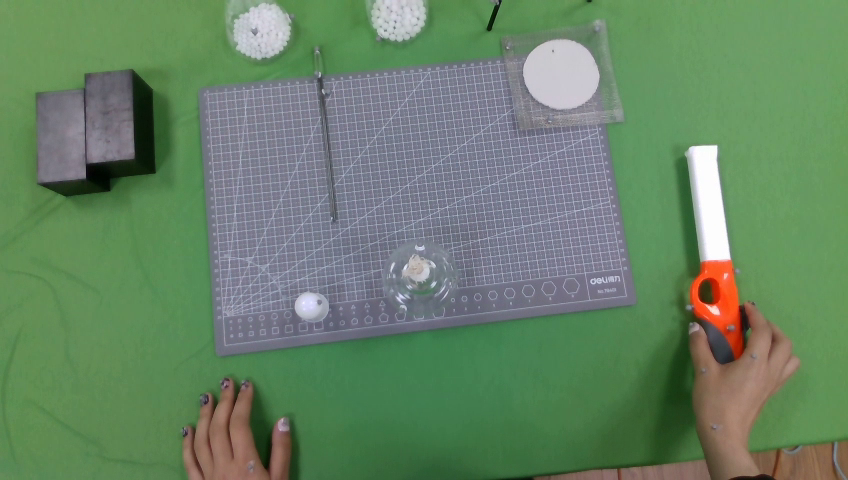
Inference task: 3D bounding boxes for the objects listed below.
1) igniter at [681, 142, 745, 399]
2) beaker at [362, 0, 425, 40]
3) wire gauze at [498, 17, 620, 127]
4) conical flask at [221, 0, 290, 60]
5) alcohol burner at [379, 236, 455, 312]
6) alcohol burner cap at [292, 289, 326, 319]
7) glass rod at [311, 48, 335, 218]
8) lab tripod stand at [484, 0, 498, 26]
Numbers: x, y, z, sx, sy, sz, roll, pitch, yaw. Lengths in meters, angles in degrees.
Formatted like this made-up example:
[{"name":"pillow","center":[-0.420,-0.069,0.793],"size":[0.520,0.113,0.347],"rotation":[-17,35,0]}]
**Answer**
[{"name":"igniter","center":[0.307,0.029,0.649],"size":[0.057,0.025,0.275],"rotation":[-2,80,1]},{"name":"beaker","center":[-0.034,-0.273,0.658],"size":[0.074,0.100,0.083],"rotation":[-4,79,-2]},{"name":"wire gauze","center":[0.154,-0.191,0.692],"size":[0.125,0.011,0.121],"rotation":[-8,81,-3]},{"name":"conical flask","center":[-0.190,-0.250,0.638],"size":[0.075,0.122,0.075],"rotation":[0,80,-1]},{"name":"alcohol burner","center":[-0.007,0.032,0.598],"size":[0.078,0.119,0.077],"rotation":[0,82,-1]},{"name":"alcohol burner cap","center":[-0.121,0.065,0.626],"size":[0.034,0.048,0.033],"rotation":[0,81,-1]},{"name":"glass rod","center":[-0.112,-0.121,0.673],"size":[0.008,0.008,0.199],"rotation":[-7,81,-3]},{"name":"lab tripod stand","center":[0.122,-0.311,0.650],"size":[0.148,0.132,0.148],"rotation":[0,82,-1]}]
